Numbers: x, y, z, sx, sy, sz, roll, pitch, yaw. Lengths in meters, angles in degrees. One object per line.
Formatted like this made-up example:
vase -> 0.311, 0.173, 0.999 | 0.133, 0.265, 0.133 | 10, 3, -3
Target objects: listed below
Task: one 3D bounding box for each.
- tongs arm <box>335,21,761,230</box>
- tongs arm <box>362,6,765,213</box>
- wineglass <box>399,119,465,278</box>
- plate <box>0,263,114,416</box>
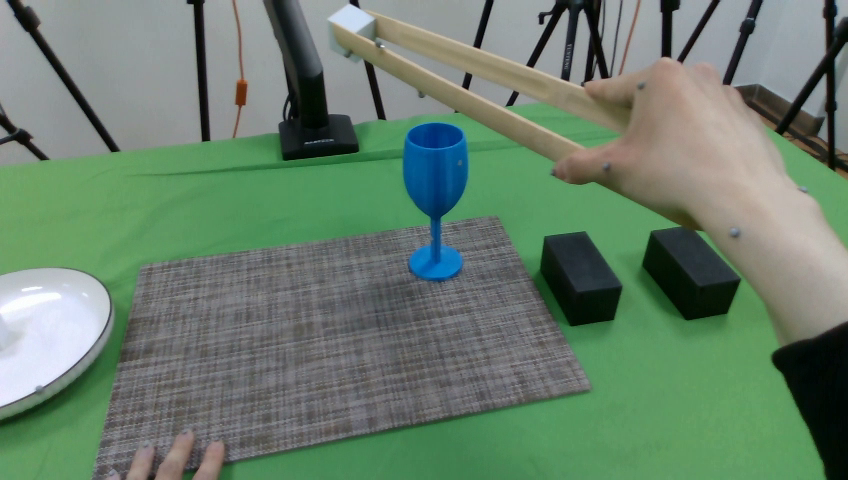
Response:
tongs arm -> 0.060, -0.107, 0.464 | 0.051, 0.027, 0.381 | -35, 52, -23
tongs arm -> 0.077, -0.121, 0.474 | 0.028, 0.028, 0.384 | -36, 53, -28
wineglass -> 0.009, -0.043, 0.678 | 0.074, 0.174, 0.073 | 0, 38, 1
plate -> -0.422, 0.102, 0.611 | 0.209, 0.038, 0.207 | 0, 38, 1
